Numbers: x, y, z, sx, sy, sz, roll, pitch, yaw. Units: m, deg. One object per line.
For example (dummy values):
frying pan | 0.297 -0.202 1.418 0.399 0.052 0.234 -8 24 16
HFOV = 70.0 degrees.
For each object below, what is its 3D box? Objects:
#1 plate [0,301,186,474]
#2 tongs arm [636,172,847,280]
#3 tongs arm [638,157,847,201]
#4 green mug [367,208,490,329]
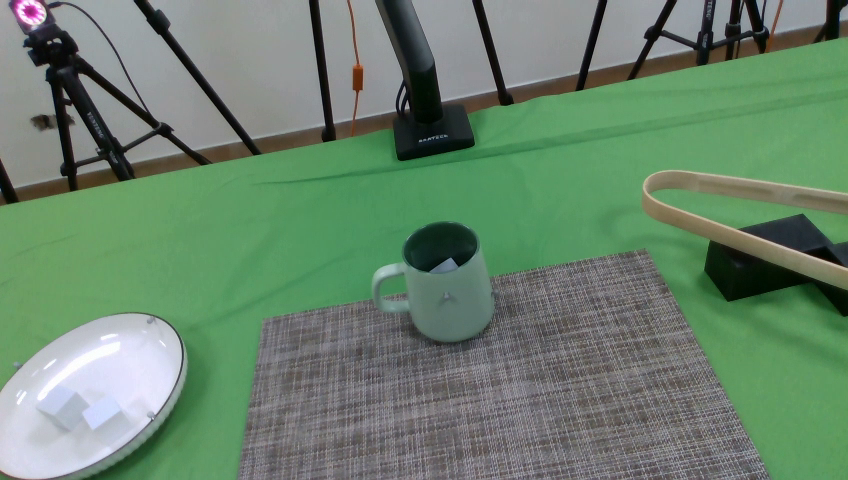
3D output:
plate | -0.351 0.153 0.642 0.209 0.038 0.207 -6 42 6
tongs arm | 0.369 0.012 0.560 0.384 0.028 0.028 27 62 35
tongs arm | 0.413 -0.038 0.600 0.382 0.027 0.050 16 53 28
green mug | 0.003 0.035 0.629 0.125 0.106 0.091 -11 43 1
